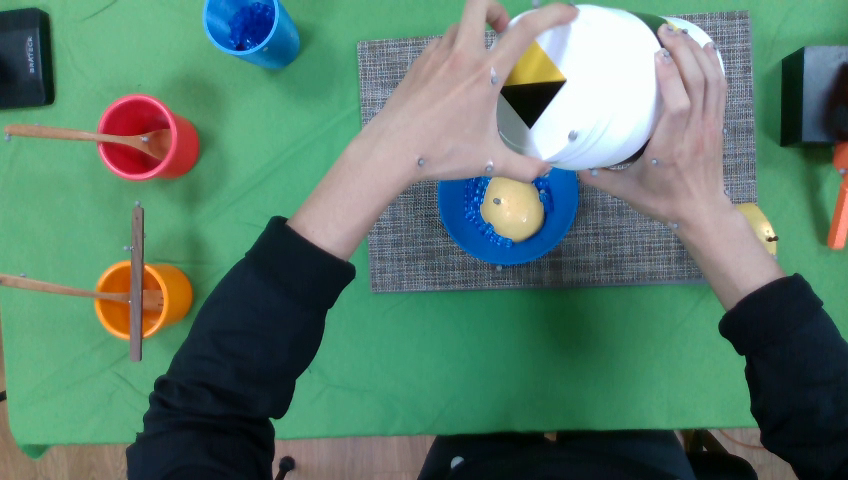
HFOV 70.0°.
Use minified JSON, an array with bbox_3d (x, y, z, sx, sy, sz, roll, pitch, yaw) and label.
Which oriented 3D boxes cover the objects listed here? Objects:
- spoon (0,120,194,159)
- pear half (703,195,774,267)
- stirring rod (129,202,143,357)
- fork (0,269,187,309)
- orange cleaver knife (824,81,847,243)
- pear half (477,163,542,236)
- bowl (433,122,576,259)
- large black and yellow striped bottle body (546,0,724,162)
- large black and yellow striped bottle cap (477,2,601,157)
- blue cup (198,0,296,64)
[{"bbox_3d":[-0.364,-0.120,0.689,0.195,0.021,0.041,1,95,-38],"label":"spoon"},{"bbox_3d":[0.332,-0.006,0.640,0.056,0.110,0.076,-22,86,6],"label":"pear half"},{"bbox_3d":[-0.327,0.045,0.686,0.014,0.006,0.176,2,93,3],"label":"stirring rod"},{"bbox_3d":[-0.378,0.055,0.693,0.209,0.018,0.028,14,105,-39],"label":"fork"},{"bbox_3d":[0.449,-0.099,0.642,0.012,0.076,0.213,0,120,11],"label":"orange cleaver knife"},{"bbox_3d":[0.093,-0.048,0.671,0.070,0.031,0.088,-29,85,3],"label":"pear half"},{"bbox_3d":[0.089,-0.055,0.677,0.151,0.077,0.151,0,92,6],"label":"bowl"},{"bbox_3d":[0.156,-0.135,0.524,0.129,0.185,0.131,16,111,48],"label":"large black and yellow striped bottle body"},{"bbox_3d":[0.084,-0.122,0.467,0.019,0.114,0.115,-9,91,-37],"label":"large black and yellow striped bottle cap"},{"bbox_3d":[-0.191,-0.243,0.688,0.092,0.100,0.092,0,92,8],"label":"blue cup"}]
